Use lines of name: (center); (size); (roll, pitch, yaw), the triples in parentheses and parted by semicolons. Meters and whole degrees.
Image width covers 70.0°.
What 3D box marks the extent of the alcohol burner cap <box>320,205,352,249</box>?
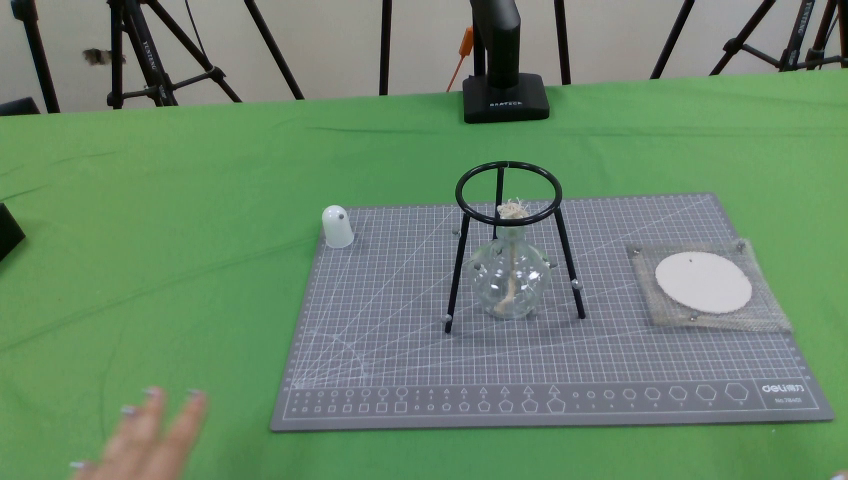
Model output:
alcohol burner cap: (-0.098, -0.017, 0.663); (0.034, 0.048, 0.033); (-2, 42, 2)

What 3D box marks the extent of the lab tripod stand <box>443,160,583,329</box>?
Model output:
lab tripod stand: (0.077, 0.005, 0.548); (0.148, 0.133, 0.147); (-2, 40, 2)

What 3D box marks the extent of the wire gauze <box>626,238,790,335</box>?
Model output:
wire gauze: (0.268, 0.041, 0.584); (0.125, 0.011, 0.120); (1, 42, 5)

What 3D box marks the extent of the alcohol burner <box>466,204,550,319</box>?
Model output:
alcohol burner: (0.077, 0.015, 0.552); (0.078, 0.120, 0.077); (-2, 41, 2)
